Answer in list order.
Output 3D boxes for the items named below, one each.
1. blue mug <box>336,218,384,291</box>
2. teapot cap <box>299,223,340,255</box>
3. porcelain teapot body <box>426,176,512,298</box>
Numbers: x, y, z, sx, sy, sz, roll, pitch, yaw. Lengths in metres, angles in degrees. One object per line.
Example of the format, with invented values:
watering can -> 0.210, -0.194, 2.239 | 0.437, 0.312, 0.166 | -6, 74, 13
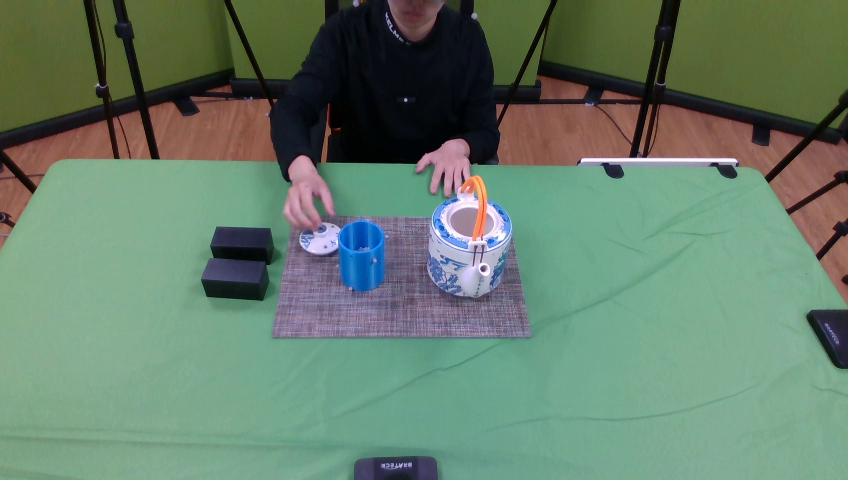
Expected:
blue mug -> -0.115, 0.018, 1.110 | 0.082, 0.106, 0.116 | 1, 46, -3
teapot cap -> -0.200, -0.007, 1.172 | 0.085, 0.044, 0.084 | -2, 46, 2
porcelain teapot body -> 0.085, 0.009, 1.051 | 0.145, 0.226, 0.204 | -5, 47, -9
